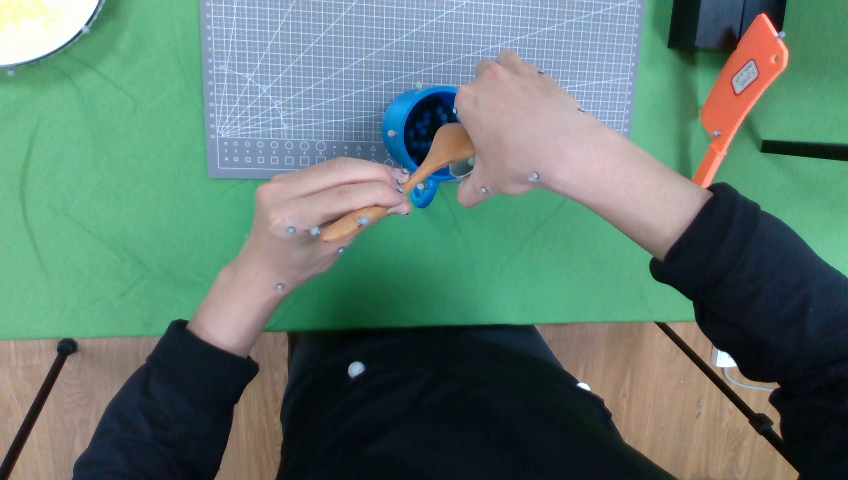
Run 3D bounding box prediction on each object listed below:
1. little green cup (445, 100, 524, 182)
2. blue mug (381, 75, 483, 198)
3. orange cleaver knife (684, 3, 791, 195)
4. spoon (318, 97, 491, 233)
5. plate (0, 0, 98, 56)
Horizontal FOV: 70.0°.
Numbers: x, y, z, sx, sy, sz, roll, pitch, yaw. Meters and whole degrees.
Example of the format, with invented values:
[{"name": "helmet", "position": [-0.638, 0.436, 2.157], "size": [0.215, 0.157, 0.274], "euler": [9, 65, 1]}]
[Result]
[{"name": "little green cup", "position": [0.052, -0.080, 0.505], "size": [0.039, 0.061, 0.061], "euler": [32, 96, -37]}, {"name": "blue mug", "position": [0.004, -0.098, 0.583], "size": [0.083, 0.105, 0.117], "euler": [8, 102, -14]}, {"name": "orange cleaver knife", "position": [0.326, -0.144, 0.657], "size": [0.012, 0.076, 0.213], "euler": [-2, 135, -13]}, {"name": "spoon", "position": [-0.008, -0.057, 0.438], "size": [0.041, 0.022, 0.193], "euler": [41, 55, 5]}, {"name": "plate", "position": [-0.365, -0.258, 0.493], "size": [0.210, 0.038, 0.210], "euler": [-3, 105, -12]}]
